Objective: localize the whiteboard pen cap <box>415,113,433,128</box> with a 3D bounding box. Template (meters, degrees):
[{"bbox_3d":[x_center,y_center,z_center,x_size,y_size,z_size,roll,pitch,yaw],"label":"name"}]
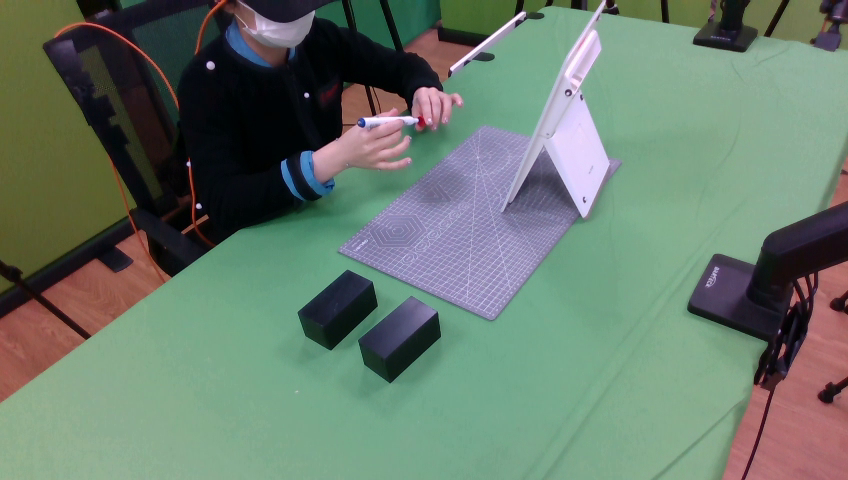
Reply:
[{"bbox_3d":[-0.001,-0.208,1.053,0.017,0.017,0.032,23,41,31],"label":"whiteboard pen cap"}]

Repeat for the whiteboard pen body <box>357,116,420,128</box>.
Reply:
[{"bbox_3d":[-0.054,-0.195,0.993,0.016,0.017,0.141,28,28,34],"label":"whiteboard pen body"}]

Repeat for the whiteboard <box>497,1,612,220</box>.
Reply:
[{"bbox_3d":[0.260,-0.178,0.963,0.143,0.306,0.217,28,49,9],"label":"whiteboard"}]
